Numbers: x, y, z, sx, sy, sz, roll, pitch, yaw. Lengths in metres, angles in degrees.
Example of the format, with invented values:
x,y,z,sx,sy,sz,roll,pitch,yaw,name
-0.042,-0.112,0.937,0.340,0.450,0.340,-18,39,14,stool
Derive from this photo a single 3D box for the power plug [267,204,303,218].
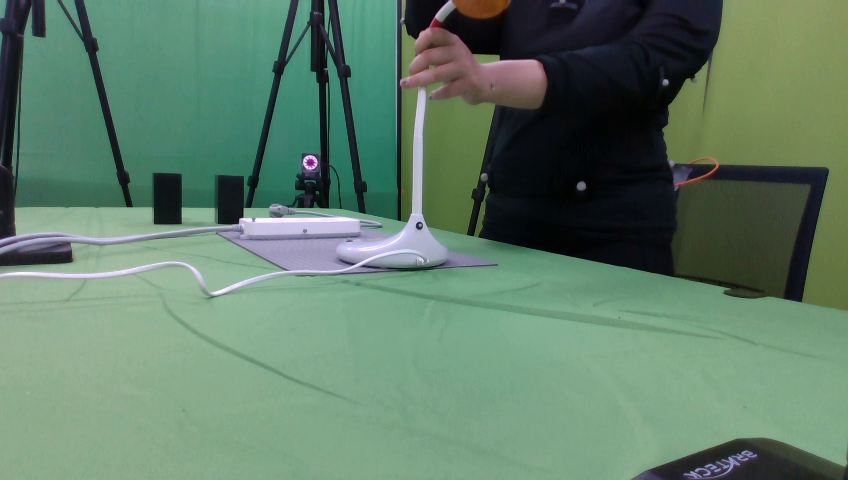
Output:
x,y,z,sx,sy,sz,roll,pitch,yaw,name
-0.327,-0.060,1.404,0.073,0.035,0.052,22,-15,-26,power plug

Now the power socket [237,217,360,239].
x,y,z,sx,sy,sz,roll,pitch,yaw,name
-0.220,-0.023,1.080,0.228,0.032,0.072,-2,8,-33,power socket

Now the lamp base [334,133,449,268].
x,y,z,sx,sy,sz,roll,pitch,yaw,name
-0.034,-0.057,0.831,0.161,0.180,0.178,-2,11,-36,lamp base

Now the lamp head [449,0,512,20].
x,y,z,sx,sy,sz,roll,pitch,yaw,name
0.065,-0.323,0.708,0.112,0.122,0.112,6,-4,1,lamp head
